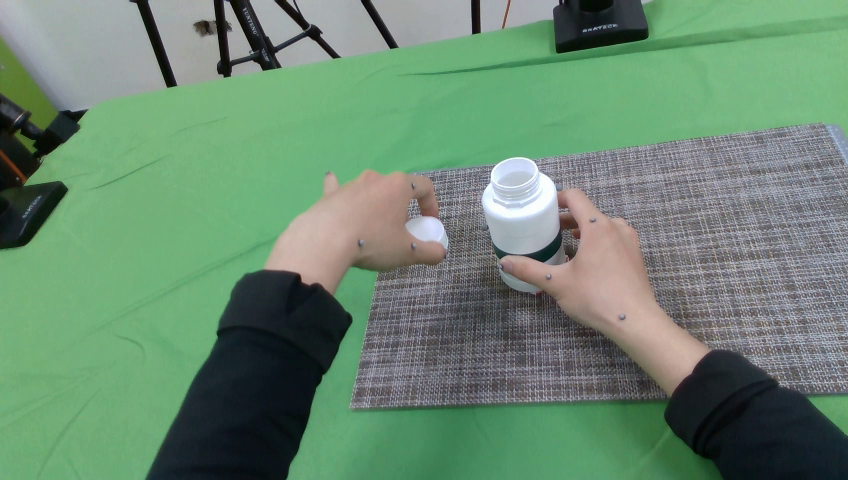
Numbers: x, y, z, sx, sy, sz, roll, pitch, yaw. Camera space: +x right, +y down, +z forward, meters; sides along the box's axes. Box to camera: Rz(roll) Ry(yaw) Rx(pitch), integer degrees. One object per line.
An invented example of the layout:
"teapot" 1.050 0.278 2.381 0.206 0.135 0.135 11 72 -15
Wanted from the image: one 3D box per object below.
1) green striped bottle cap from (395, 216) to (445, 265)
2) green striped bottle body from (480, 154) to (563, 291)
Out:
"green striped bottle cap" -0.004 0.000 0.533 0.044 0.020 0.044 -2 46 3
"green striped bottle body" 0.085 -0.016 0.527 0.063 0.120 0.062 -10 43 10
